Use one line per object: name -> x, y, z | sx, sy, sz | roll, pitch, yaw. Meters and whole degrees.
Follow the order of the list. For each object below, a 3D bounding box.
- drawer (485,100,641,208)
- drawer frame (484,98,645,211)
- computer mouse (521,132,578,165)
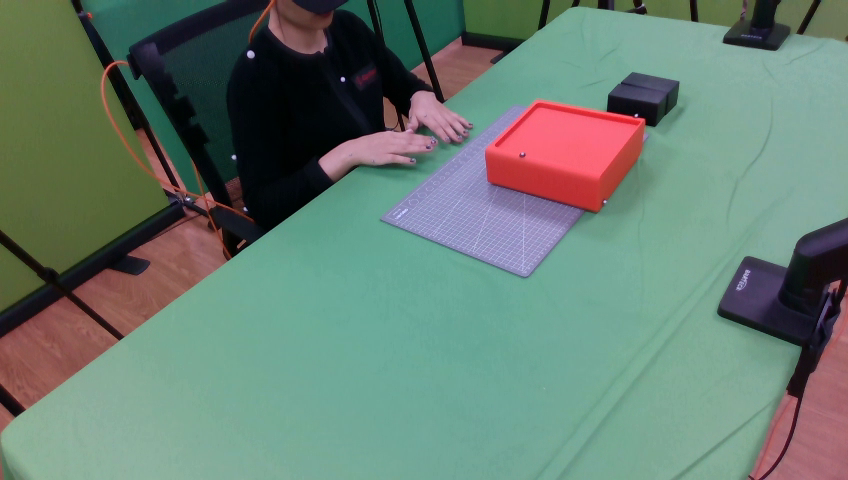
drawer -> 0.246, -0.158, 1.073 | 0.210, 0.073, 0.195 | 20, 48, 30
drawer frame -> 0.248, -0.158, 1.070 | 0.212, 0.083, 0.202 | 20, 47, 29
computer mouse -> 0.229, -0.172, 1.096 | 0.062, 0.041, 0.118 | 22, 35, 34
